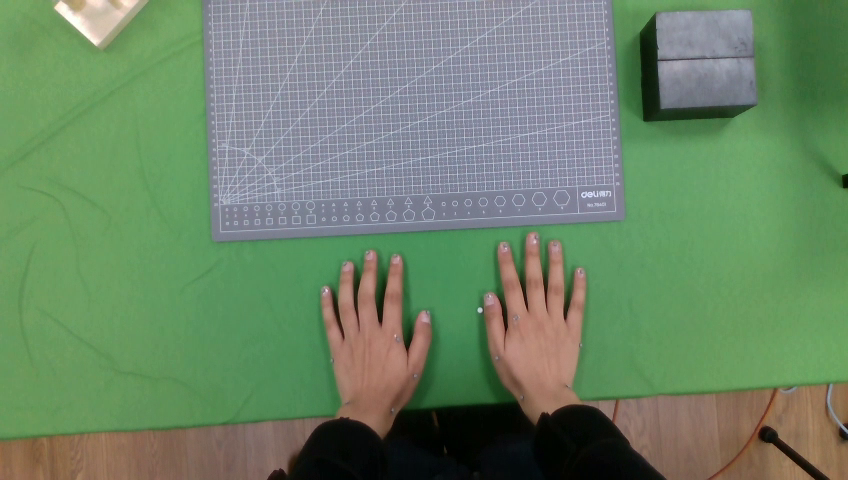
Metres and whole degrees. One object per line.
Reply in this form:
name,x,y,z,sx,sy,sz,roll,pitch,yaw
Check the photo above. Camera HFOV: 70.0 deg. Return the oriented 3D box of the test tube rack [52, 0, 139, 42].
test tube rack,-0.301,-0.331,0.630,0.066,0.085,0.242,42,88,2
